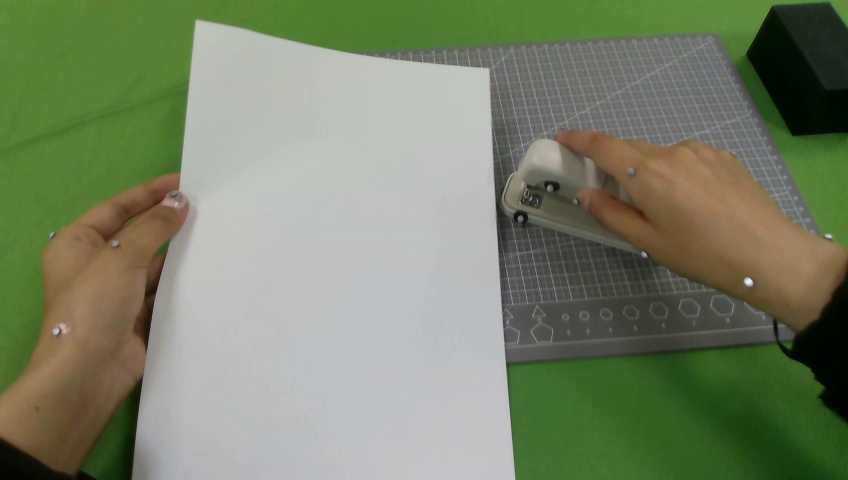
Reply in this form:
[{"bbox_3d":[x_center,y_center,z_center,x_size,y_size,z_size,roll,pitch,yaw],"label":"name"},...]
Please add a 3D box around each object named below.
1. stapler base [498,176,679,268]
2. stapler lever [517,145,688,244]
[{"bbox_3d":[0.119,-0.019,0.430,0.130,0.024,0.041,17,65,9],"label":"stapler base"},{"bbox_3d":[0.121,-0.032,0.408,0.118,0.040,0.026,17,64,9],"label":"stapler lever"}]
